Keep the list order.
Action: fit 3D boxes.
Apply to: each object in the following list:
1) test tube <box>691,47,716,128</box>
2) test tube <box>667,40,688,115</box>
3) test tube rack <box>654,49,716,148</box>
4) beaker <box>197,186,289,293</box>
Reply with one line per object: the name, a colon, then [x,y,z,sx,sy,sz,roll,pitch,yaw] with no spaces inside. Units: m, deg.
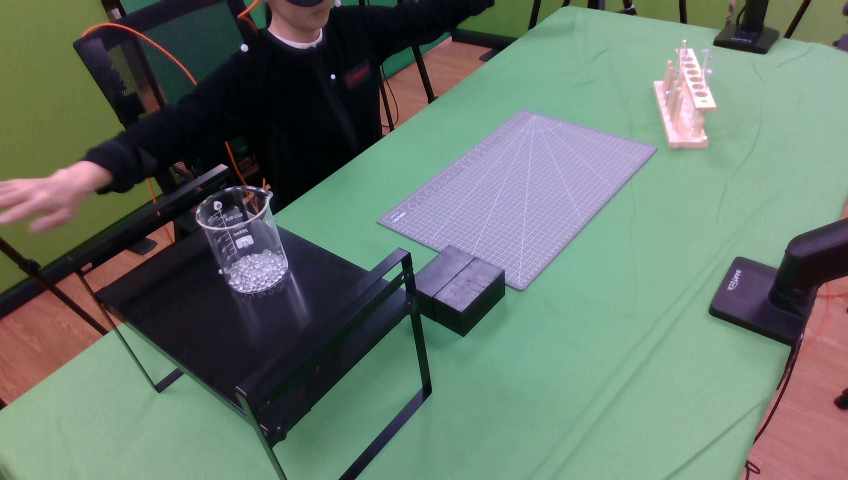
test tube: [0.503,-0.272,1.090,0.017,0.151,0.017,-3,37,3]
test tube: [0.477,-0.303,1.138,0.017,0.151,0.017,-5,42,5]
test tube rack: [0.502,-0.281,1.176,0.066,0.085,0.241,1,41,11]
beaker: [-0.192,0.001,0.666,0.084,0.101,0.073,-33,47,-27]
